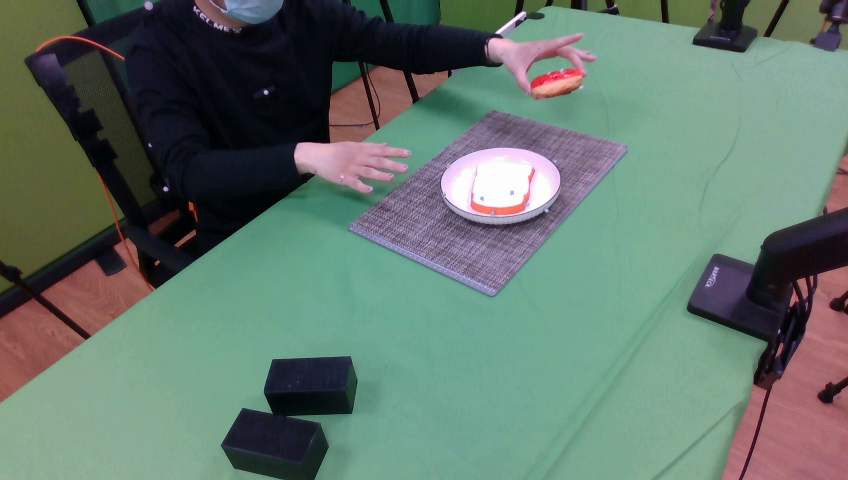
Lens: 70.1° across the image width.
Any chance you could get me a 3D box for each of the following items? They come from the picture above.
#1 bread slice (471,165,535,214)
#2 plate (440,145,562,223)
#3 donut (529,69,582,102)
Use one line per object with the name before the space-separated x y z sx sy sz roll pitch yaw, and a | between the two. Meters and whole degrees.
bread slice | 0.134 -0.090 1.039 0.104 0.019 0.131 3 40 13
plate | 0.131 -0.093 1.040 0.207 0.039 0.206 -4 41 4
donut | 0.240 -0.284 1.108 0.099 0.048 0.099 -15 13 4
